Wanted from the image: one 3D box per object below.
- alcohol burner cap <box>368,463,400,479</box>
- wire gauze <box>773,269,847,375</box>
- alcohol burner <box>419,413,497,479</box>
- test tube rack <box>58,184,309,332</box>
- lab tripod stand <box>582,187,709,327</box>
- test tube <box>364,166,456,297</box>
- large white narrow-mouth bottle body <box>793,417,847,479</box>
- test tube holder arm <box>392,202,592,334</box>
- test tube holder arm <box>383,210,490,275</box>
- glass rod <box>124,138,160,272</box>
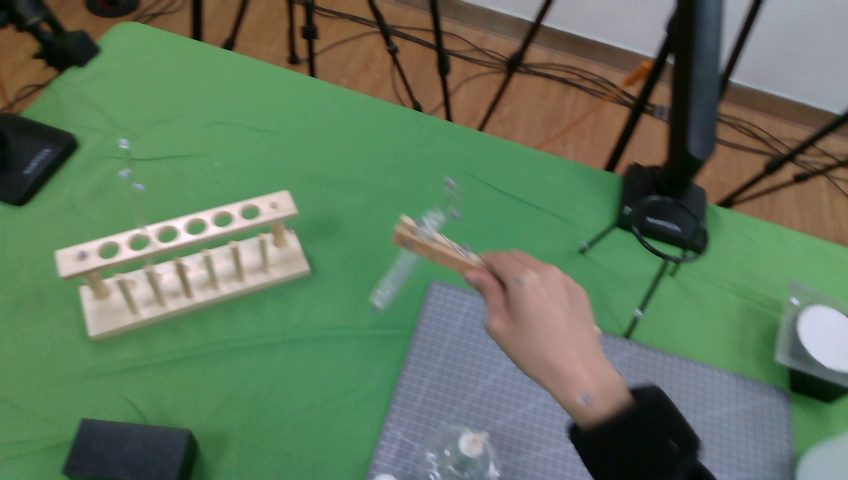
[{"bbox_3d":[-0.038,0.235,0.590,0.034,0.048,0.033,3,57,-4],"label":"alcohol burner cap"},{"bbox_3d":[0.482,0.104,0.720,0.121,0.011,0.124,24,56,8],"label":"wire gauze"},{"bbox_3d":[0.036,0.200,0.581,0.078,0.120,0.077,5,56,-7],"label":"alcohol burner"},{"bbox_3d":[-0.256,0.018,0.677,0.243,0.086,0.066,-18,61,-19],"label":"test tube rack"},{"bbox_3d":[0.271,0.014,0.732,0.149,0.132,0.147,5,58,-7],"label":"lab tripod stand"},{"bbox_3d":[-0.015,-0.001,0.484,0.017,0.151,0.017,19,42,-17],"label":"test tube"},{"bbox_3d":[0.461,0.213,0.591,0.102,0.196,0.101,4,55,-5],"label":"large white narrow-mouth bottle body"},{"bbox_3d":[0.051,0.021,0.474,0.178,0.015,0.013,30,37,4],"label":"test tube holder arm"},{"bbox_3d":[0.010,0.002,0.471,0.088,0.015,0.010,25,37,-2],"label":"test tube holder arm"},{"bbox_3d":[-0.287,-0.025,0.621,0.008,0.201,0.008,7,47,-8],"label":"glass rod"}]
